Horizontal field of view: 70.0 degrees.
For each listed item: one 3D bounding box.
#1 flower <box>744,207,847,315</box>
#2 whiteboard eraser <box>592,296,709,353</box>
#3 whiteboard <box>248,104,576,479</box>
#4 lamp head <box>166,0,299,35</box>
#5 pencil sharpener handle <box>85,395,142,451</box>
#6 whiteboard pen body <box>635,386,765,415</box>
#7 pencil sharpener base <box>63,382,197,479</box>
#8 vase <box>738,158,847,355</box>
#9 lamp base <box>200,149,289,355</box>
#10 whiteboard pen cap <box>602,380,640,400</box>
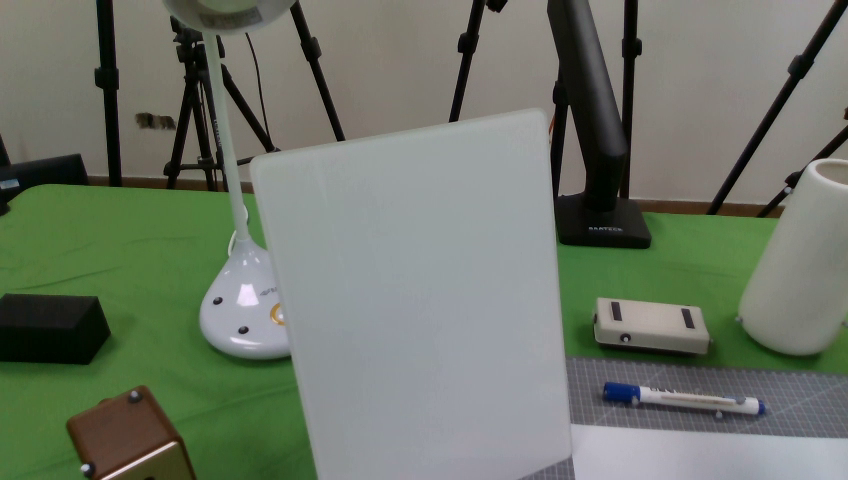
[{"bbox_3d":[0.404,-0.039,0.555,0.044,0.364,0.038,-9,51,-25],"label":"flower"},{"bbox_3d":[0.238,0.092,0.646,0.112,0.042,0.055,4,32,6],"label":"whiteboard eraser"},{"bbox_3d":[-0.013,0.057,0.505,0.218,0.307,0.142,-14,17,-20],"label":"whiteboard"},{"bbox_3d":[-0.157,-0.232,0.451,0.113,0.113,0.122,-19,63,-27],"label":"lamp head"},{"bbox_3d":[-0.245,0.140,0.480,0.036,0.068,0.030,-32,44,-27],"label":"pencil sharpener handle"},{"bbox_3d":[0.248,0.151,0.574,0.140,0.017,0.017,5,33,7],"label":"whiteboard pen body"},{"bbox_3d":[-0.214,0.173,0.453,0.061,0.108,0.076,-25,41,-33],"label":"pencil sharpener base"},{"bbox_3d":[0.394,0.021,0.613,0.098,0.201,0.097,1,33,0],"label":"vase"},{"bbox_3d":[-0.177,0.003,0.647,0.161,0.181,0.177,-27,40,-35],"label":"lamp base"},{"bbox_3d":[0.189,0.145,0.581,0.033,0.018,0.018,7,34,6],"label":"whiteboard pen cap"}]
